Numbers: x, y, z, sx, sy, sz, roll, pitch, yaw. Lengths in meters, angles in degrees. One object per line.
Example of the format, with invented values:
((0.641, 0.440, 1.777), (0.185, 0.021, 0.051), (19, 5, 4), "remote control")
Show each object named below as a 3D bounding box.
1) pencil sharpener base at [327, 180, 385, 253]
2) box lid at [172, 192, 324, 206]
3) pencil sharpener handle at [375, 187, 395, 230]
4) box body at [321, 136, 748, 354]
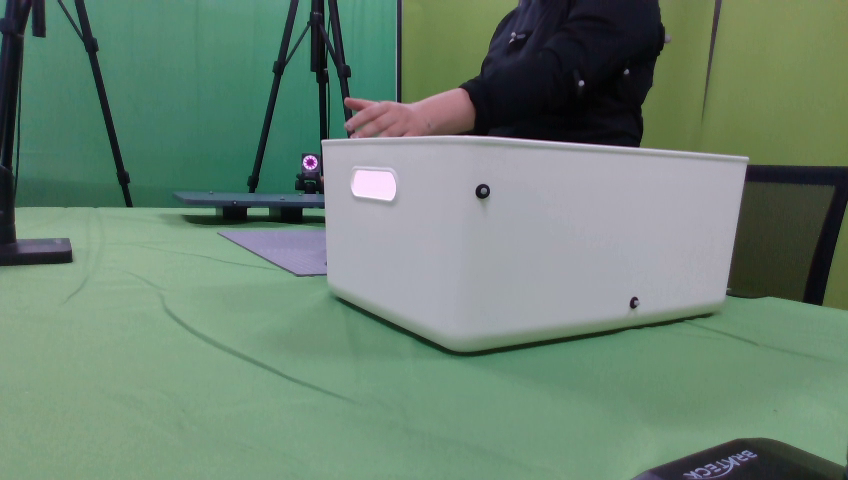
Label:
((-0.103, -0.037, 0.932), (0.077, 0.107, 0.061), (0, 7, -30), "pencil sharpener base")
((-0.355, -0.091, 1.350), (0.373, 0.015, 0.262), (-1, 8, -29), "box lid")
((-0.059, -0.050, 0.958), (0.031, 0.067, 0.036), (0, 13, -30), "pencil sharpener handle")
((0.105, -0.011, 0.604), (0.366, 0.160, 0.253), (-2, 8, -33), "box body")
